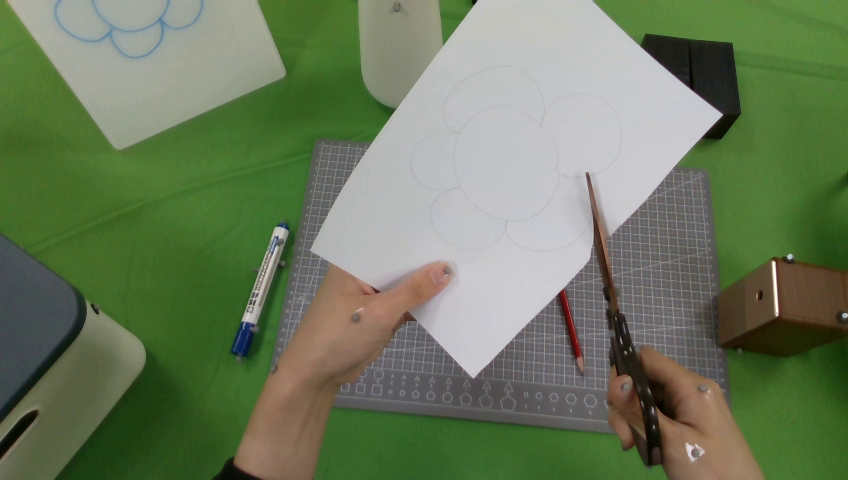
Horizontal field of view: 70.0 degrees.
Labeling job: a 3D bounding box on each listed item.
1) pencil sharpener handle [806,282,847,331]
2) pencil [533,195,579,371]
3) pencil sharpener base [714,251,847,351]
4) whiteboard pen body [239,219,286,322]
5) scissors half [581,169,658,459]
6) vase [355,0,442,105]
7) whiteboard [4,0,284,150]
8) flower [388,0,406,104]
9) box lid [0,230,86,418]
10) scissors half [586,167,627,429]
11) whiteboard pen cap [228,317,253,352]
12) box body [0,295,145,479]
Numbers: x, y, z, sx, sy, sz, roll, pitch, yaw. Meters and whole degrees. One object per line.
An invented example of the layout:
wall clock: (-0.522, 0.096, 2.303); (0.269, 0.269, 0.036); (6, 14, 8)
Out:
pencil sharpener handle: (0.386, 0.066, 0.560); (0.030, 0.068, 0.035); (9, 61, 1)
pencil: (0.138, 0.041, 0.632); (0.012, 0.012, 0.192); (-8, 69, -3)
pencil sharpener base: (0.335, 0.061, 0.572); (0.077, 0.107, 0.061); (9, 67, 0)
whiteboard pen body: (-0.170, 0.041, 0.627); (0.017, 0.017, 0.140); (11, 66, 5)
scissors half: (0.114, 0.041, 0.359); (0.013, 0.040, 0.174); (-11, 82, 4)
vase: (-0.030, -0.235, 0.645); (0.098, 0.201, 0.097); (0, 66, 1)
whiteboard: (-0.319, -0.293, 0.643); (0.217, 0.308, 0.142); (-28, 51, -11)
flower: (-0.036, -0.280, 0.574); (0.044, 0.365, 0.038); (-2, 49, 3)
box lid: (-0.475, 0.056, 0.461); (0.370, 0.015, 0.262); (30, 70, 12)
scissors half: (0.116, 0.039, 0.380); (0.013, 0.040, 0.176); (-11, 107, 9)
whiteboard pen cap: (-0.181, 0.093, 0.603); (0.018, 0.018, 0.033); (11, 62, 5)
box body: (-0.473, 0.086, 0.529); (0.362, 0.161, 0.253); (30, 71, 12)
